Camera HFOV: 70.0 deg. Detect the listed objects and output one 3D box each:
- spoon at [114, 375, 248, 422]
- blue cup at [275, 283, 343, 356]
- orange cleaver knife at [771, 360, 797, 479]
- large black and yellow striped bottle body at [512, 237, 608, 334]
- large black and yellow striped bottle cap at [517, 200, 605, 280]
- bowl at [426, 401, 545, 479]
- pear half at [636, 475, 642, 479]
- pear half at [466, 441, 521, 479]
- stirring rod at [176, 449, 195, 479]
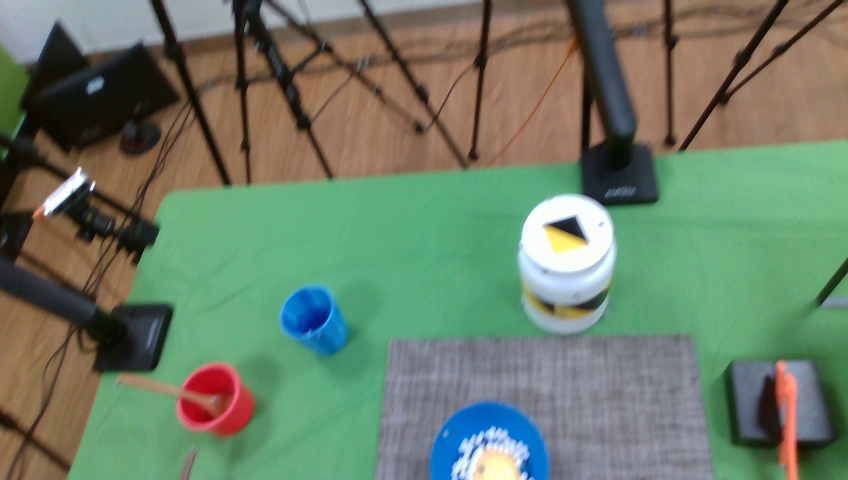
[{"bbox_3d":[-0.356,0.229,0.897,0.195,0.021,0.041,25,59,-24],"label":"spoon"},{"bbox_3d":[-0.171,0.134,0.941,0.092,0.101,0.092,-6,58,11],"label":"blue cup"},{"bbox_3d":[0.443,0.257,0.747,0.012,0.077,0.211,-3,87,16],"label":"orange cleaver knife"},{"bbox_3d":[0.195,0.042,0.872,0.130,0.186,0.129,-5,58,9],"label":"large black and yellow striped bottle body"},{"bbox_3d":[0.181,-0.002,0.801,0.115,0.019,0.114,-6,59,10],"label":"large black and yellow striped bottle cap"},{"bbox_3d":[0.084,0.297,0.796,0.151,0.077,0.150,-5,58,9],"label":"bowl"},{"bbox_3d":[0.303,0.333,0.746,0.076,0.056,0.108,-34,54,-16],"label":"pear half"},{"bbox_3d":[0.087,0.298,0.787,0.070,0.031,0.087,-24,53,-5],"label":"pear half"},{"bbox_3d":[-0.338,0.366,0.801,0.014,0.006,0.175,3,60,11],"label":"stirring rod"}]
